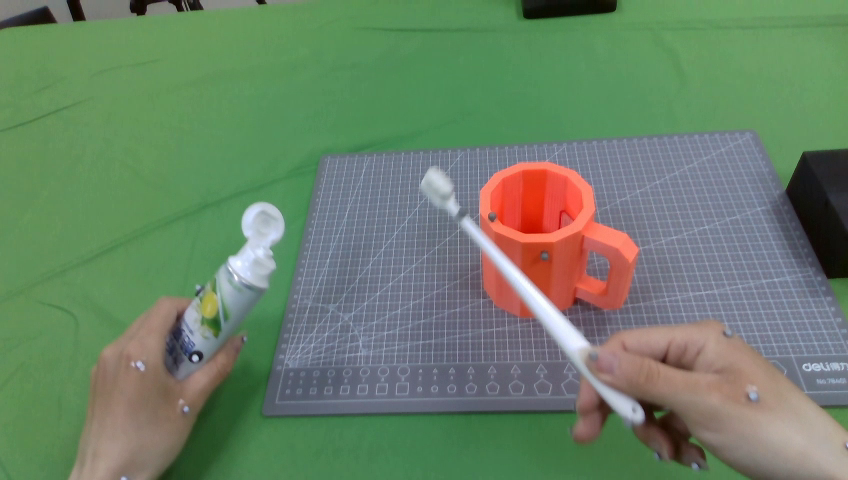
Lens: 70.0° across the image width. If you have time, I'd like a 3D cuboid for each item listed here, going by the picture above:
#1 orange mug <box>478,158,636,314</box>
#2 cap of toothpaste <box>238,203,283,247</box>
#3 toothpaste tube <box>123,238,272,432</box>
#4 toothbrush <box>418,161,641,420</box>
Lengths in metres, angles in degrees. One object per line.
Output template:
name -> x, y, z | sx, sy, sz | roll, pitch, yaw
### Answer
orange mug -> 0.101, 0.004, 0.478 | 0.125, 0.102, 0.083 | 22, 56, 29
cap of toothpaste -> -0.124, -0.011, 0.464 | 0.011, 0.037, 0.037 | -1, 40, 52
toothpaste tube -> -0.170, 0.064, 0.455 | 0.165, 0.035, 0.054 | -51, 55, 6
toothbrush -> 0.055, 0.023, 0.334 | 0.014, 0.017, 0.180 | -30, 71, -27
